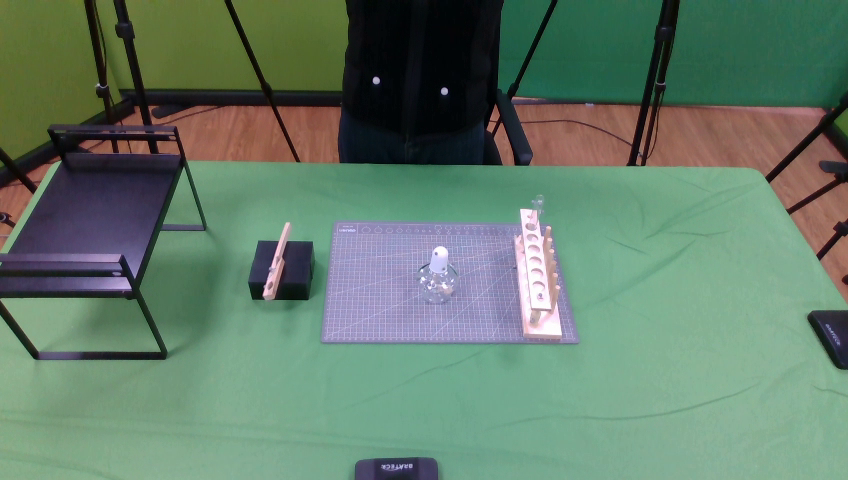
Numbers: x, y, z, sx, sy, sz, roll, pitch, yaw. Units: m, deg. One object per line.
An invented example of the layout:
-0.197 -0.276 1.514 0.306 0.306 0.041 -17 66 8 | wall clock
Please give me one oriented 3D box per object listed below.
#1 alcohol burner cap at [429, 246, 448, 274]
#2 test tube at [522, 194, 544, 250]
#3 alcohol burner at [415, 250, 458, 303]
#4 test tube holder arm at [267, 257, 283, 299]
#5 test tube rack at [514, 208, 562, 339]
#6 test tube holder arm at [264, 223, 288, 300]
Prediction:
0.027 0.032 1.052 0.034 0.048 0.033 4 41 -3 | alcohol burner cap
0.201 -0.029 1.125 0.017 0.151 0.017 2 51 -2 | test tube
0.024 0.057 1.078 0.078 0.119 0.077 3 44 -3 | alcohol burner
-0.258 0.066 1.050 0.010 0.015 0.087 -2 45 2 | test tube holder arm
0.212 0.056 1.113 0.067 0.085 0.241 3 46 -1 | test tube rack
-0.264 0.034 1.082 0.013 0.015 0.177 -3 45 2 | test tube holder arm
